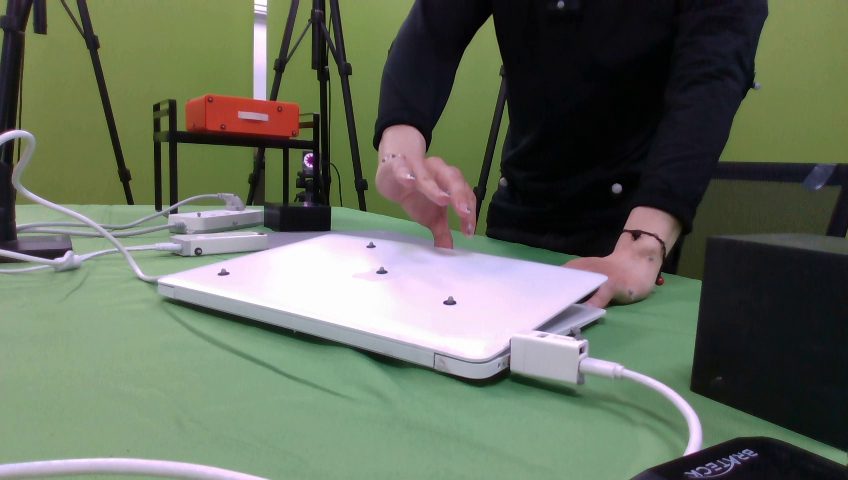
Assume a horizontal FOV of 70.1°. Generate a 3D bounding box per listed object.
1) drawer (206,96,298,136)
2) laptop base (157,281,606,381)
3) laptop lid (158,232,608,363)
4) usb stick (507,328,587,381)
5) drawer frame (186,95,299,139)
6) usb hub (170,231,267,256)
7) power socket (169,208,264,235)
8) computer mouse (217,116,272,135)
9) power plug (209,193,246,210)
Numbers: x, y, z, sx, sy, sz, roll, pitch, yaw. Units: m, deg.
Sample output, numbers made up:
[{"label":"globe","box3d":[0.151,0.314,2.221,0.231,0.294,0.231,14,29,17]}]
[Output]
[{"label":"drawer","box3d":[-0.413,-0.276,1.376,0.195,0.073,0.210,-3,9,-31]},{"label":"laptop base","box3d":[-0.042,0.058,0.554,0.352,0.023,0.237,7,7,35]},{"label":"laptop lid","box3d":[-0.040,0.032,0.551,0.355,0.013,0.243,8,16,36]},{"label":"usb stick","box3d":[0.071,0.071,0.383,0.059,0.027,0.021,0,3,34]},{"label":"drawer frame","box3d":[-0.417,-0.277,1.378,0.203,0.082,0.212,-3,8,-32]},{"label":"usb hub","box3d":[-0.290,0.004,0.862,0.049,0.025,0.126,10,11,42]},{"label":"power socket","box3d":[-0.381,-0.038,1.128,0.072,0.032,0.227,4,8,16]},{"label":"computer mouse","box3d":[-0.402,-0.258,1.353,0.118,0.041,0.062,-6,15,-34]},{"label":"power plug","box3d":[-0.388,-0.067,1.205,0.072,0.052,0.035,3,8,26]}]
